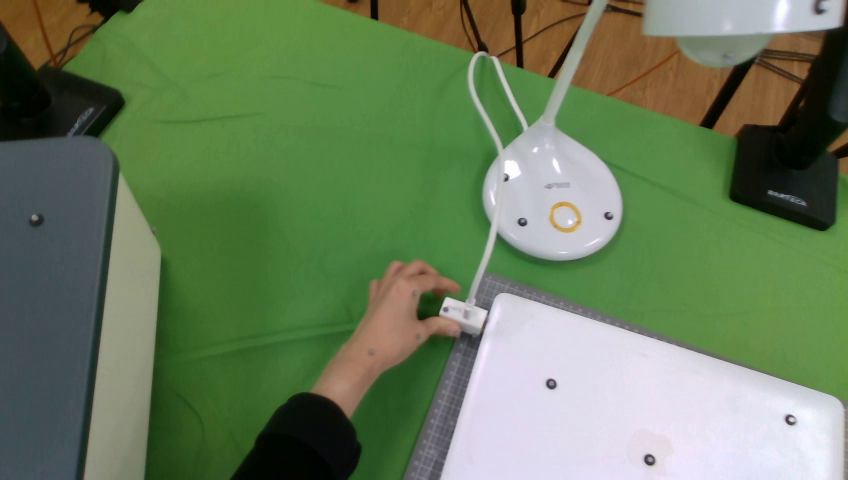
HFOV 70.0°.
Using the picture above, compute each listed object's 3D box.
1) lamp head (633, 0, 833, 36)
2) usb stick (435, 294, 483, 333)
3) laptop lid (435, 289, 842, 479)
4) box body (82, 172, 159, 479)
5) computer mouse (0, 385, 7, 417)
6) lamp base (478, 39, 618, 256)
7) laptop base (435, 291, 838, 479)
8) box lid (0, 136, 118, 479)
[{"bbox_3d":[0.182,-0.186,0.360,0.112,0.111,0.123,-8,106,-8],"label":"lamp head"},{"bbox_3d":[0.042,0.076,0.604,0.059,0.027,0.021,21,62,5],"label":"usb stick"},{"bbox_3d":[0.201,0.197,0.551,0.356,0.013,0.240,19,64,6],"label":"laptop lid"},{"bbox_3d":[-0.368,0.119,0.482,0.254,0.161,0.360,-5,62,-7],"label":"box body"},{"bbox_3d":[-0.399,0.164,0.512,0.063,0.041,0.116,-32,28,-10],"label":"computer mouse"},{"bbox_3d":[0.141,-0.100,0.629,0.161,0.181,0.177,-16,61,-12],"label":"lamp base"},{"bbox_3d":[0.201,0.201,0.563,0.354,0.023,0.234,17,65,5],"label":"laptop base"},{"bbox_3d":[-0.364,0.082,0.418,0.264,0.015,0.368,-5,63,-7],"label":"box lid"}]
